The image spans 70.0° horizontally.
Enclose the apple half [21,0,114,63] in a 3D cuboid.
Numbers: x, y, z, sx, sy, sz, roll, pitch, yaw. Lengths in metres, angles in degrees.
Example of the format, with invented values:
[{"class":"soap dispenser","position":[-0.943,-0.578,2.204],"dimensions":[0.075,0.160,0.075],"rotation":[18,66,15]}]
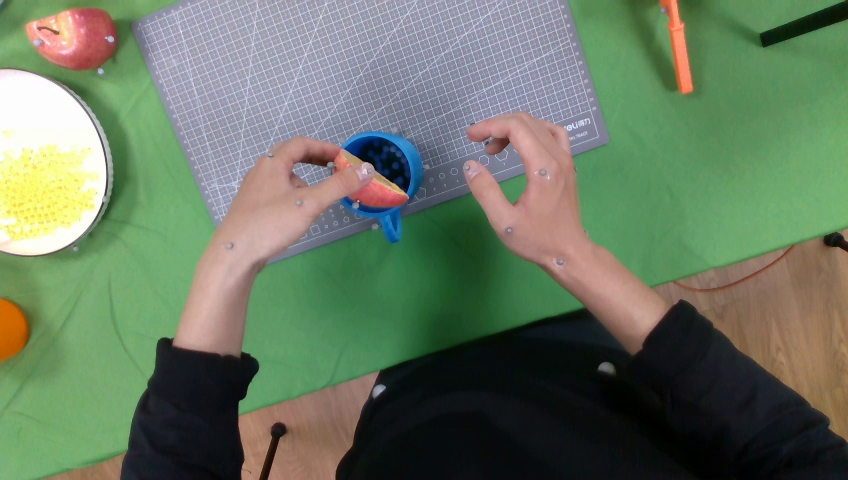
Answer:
[{"class":"apple half","position":[-0.366,-0.214,0.636],"dimensions":[0.081,0.074,0.053],"rotation":[-15,103,2]}]

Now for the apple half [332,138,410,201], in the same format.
[{"class":"apple half","position":[-0.050,-0.054,0.528],"dimensions":[0.081,0.081,0.033],"rotation":[38,104,-3]}]

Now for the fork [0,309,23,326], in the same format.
[{"class":"fork","position":[-0.568,0.108,0.671],"dimensions":[0.208,0.018,0.028],"rotation":[-10,102,-39]}]

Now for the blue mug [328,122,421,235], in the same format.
[{"class":"blue mug","position":[-0.044,-0.062,0.628],"dimensions":[0.082,0.105,0.117],"rotation":[-11,100,5]}]

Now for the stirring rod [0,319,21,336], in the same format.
[{"class":"stirring rod","position":[-0.553,0.123,0.675],"dimensions":[0.176,0.006,0.014],"rotation":[-18,89,-34]}]

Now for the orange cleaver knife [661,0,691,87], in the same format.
[{"class":"orange cleaver knife","position":[0.234,-0.253,0.590],"dimensions":[0.012,0.076,0.213],"rotation":[-16,126,15]}]

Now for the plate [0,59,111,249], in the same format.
[{"class":"plate","position":[-0.450,-0.094,0.682],"dimensions":[0.209,0.038,0.209],"rotation":[1,101,4]}]
